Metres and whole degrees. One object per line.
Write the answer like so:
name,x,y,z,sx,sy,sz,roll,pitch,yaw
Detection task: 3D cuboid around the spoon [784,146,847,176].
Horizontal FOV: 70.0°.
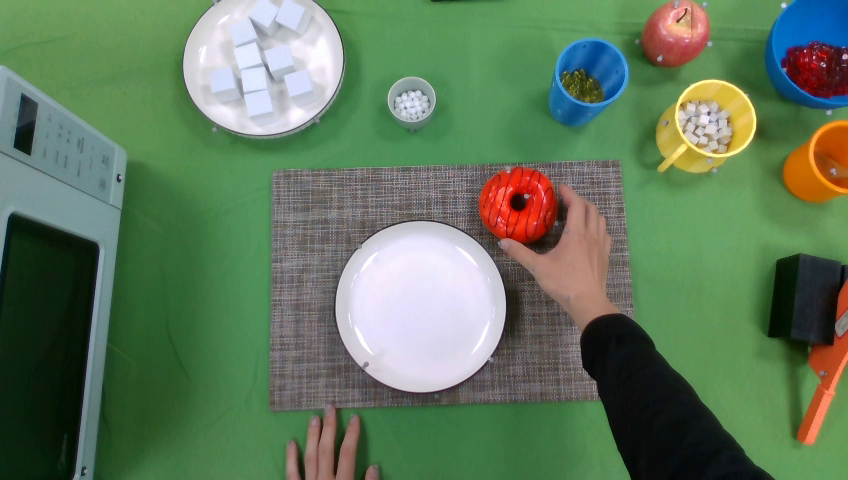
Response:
spoon,0.518,-0.073,0.707,0.041,0.191,0.022,-44,127,-7

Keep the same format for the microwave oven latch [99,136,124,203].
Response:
microwave oven latch,-0.392,-0.087,0.747,0.030,0.029,0.079,3,81,0

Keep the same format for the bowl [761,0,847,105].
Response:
bowl,0.493,-0.233,0.770,0.151,0.077,0.151,0,81,1

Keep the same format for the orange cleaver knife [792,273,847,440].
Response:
orange cleaver knife,0.469,0.133,0.706,0.012,0.077,0.212,13,110,5

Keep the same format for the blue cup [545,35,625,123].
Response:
blue cup,0.191,-0.190,0.752,0.092,0.100,0.092,0,81,-1

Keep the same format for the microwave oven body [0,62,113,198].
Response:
microwave oven body,-0.544,0.067,0.623,0.326,0.261,0.440,1,81,0

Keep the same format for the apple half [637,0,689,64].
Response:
apple half,0.303,-0.268,0.779,0.053,0.075,0.080,3,83,4

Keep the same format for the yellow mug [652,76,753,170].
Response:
yellow mug,0.337,-0.135,0.760,0.131,0.064,0.099,-43,83,-5

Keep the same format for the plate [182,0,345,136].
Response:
plate,-0.205,-0.231,0.790,0.208,0.039,0.207,0,80,0

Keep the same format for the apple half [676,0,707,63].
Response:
apple half,0.343,-0.266,0.777,0.033,0.081,0.081,4,80,4

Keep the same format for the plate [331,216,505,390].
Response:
plate,-0.007,0.075,0.735,0.209,0.038,0.208,0,81,0

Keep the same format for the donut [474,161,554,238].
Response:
donut,0.112,-0.049,0.753,0.099,0.048,0.098,0,82,0

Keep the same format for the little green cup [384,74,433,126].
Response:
little green cup,-0.019,-0.178,0.782,0.061,0.039,0.061,0,80,0

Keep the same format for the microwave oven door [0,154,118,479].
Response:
microwave oven door,-0.400,0.111,0.610,0.039,0.244,0.354,1,80,0
